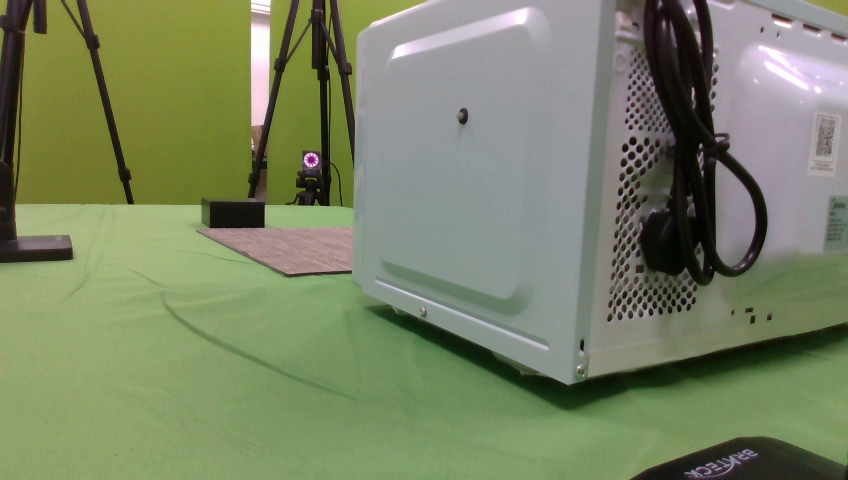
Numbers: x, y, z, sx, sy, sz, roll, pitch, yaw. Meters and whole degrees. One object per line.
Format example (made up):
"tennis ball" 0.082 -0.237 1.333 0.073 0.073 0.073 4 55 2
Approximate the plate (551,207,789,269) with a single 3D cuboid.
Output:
"plate" 0.224 -0.004 0.572 0.209 0.038 0.209 3 7 0

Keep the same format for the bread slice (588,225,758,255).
"bread slice" 0.225 -0.001 0.569 0.132 0.019 0.104 1 6 -23

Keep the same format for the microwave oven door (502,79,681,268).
"microwave oven door" 0.233 -0.105 0.925 0.039 0.243 0.354 -1 8 -25

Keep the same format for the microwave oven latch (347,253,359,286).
"microwave oven latch" -0.034 0.028 0.581 0.079 0.029 0.030 -1 7 -31

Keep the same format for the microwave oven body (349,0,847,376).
"microwave oven body" 0.199 -0.053 0.540 0.444 0.260 0.324 -1 7 -32
